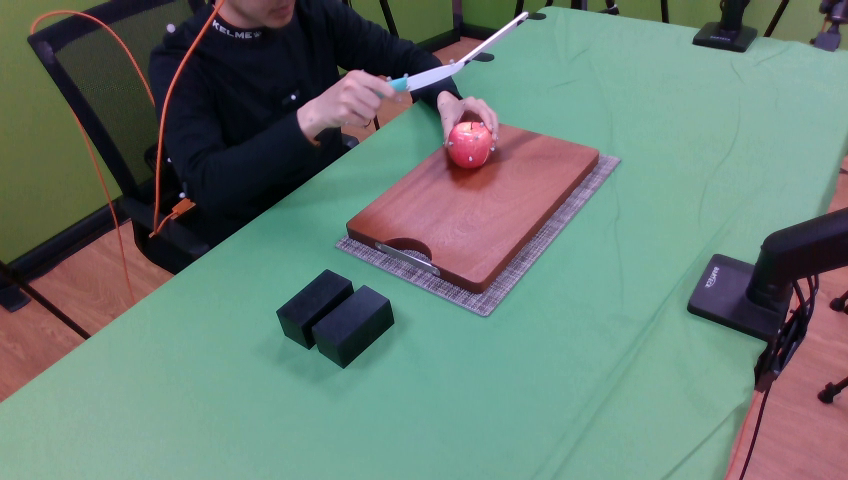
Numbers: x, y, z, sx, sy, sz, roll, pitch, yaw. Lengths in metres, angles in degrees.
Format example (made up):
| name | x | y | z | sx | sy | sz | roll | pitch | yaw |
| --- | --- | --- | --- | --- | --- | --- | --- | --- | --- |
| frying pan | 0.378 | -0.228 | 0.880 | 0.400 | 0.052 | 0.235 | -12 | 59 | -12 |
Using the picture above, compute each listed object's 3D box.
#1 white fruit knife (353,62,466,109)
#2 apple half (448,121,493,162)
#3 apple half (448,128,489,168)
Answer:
| name | x | y | z | sx | sy | sz | roll | pitch | yaw |
| --- | --- | --- | --- | --- | --- | --- | --- | --- | --- |
| white fruit knife | -0.027 | -0.241 | 0.932 | 0.206 | 0.027 | 0.016 | -12 | 43 | 27 |
| apple half | 0.088 | -0.176 | 1.078 | 0.080 | 0.075 | 0.053 | 11 | 40 | 25 |
| apple half | 0.072 | -0.153 | 1.052 | 0.081 | 0.081 | 0.033 | 13 | 41 | 23 |
